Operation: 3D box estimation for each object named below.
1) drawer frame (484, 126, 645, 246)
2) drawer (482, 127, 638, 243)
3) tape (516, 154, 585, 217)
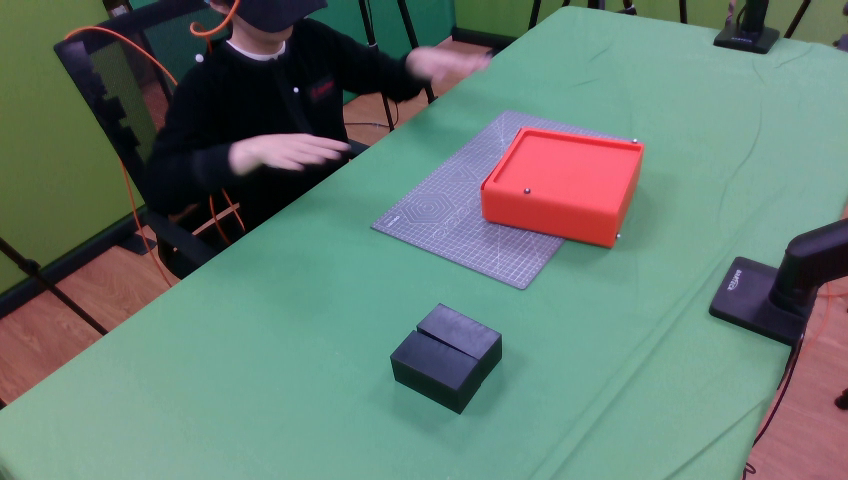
[{"bbox_3d":[0.234,-0.096,1.003,0.212,0.083,0.202,14,44,22],"label":"drawer frame"},{"bbox_3d":[0.228,-0.097,1.007,0.210,0.073,0.194,14,44,23],"label":"drawer"},{"bbox_3d":[0.211,-0.093,1.010,0.117,0.053,0.116,-6,39,5],"label":"tape"}]
